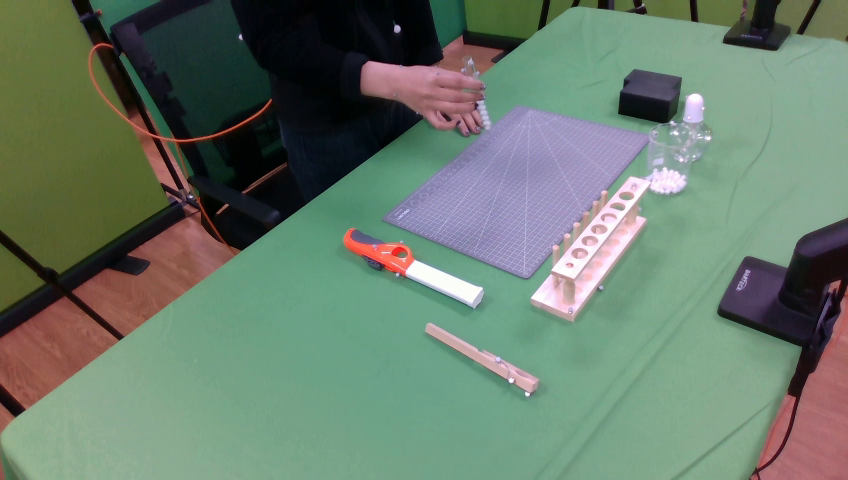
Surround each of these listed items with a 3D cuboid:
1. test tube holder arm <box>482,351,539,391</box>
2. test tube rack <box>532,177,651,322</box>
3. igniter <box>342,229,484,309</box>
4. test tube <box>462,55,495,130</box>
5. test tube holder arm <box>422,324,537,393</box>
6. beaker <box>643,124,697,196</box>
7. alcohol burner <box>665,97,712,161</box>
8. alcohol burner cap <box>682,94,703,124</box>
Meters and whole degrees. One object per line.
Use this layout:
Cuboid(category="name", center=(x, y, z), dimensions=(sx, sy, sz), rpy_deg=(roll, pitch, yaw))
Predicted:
Cuboid(category="test tube holder arm", center=(0.106, 0.166, 0.769), dimensions=(0.087, 0.015, 0.010), rpy_deg=(24, 15, 34))
Cuboid(category="test tube rack", center=(0.247, 0.002, 0.883), dimensions=(0.066, 0.085, 0.243), rpy_deg=(22, 49, 32))
Cuboid(category="igniter", center=(-0.027, 0.039, 0.936), dimensions=(0.274, 0.025, 0.057), rpy_deg=(23, 60, 32))
Cuboid(category="test tube", center=(0.091, -0.240, 0.998), dimensions=(0.017, 0.151, 0.017), rpy_deg=(-13, 47, 15))
Cuboid(category="test tube holder arm", center=(0.068, 0.152, 0.789), dimensions=(0.177, 0.015, 0.013), rpy_deg=(23, 15, 32))
Cuboid(category="beaker", center=(0.407, -0.132, 1.001), dimensions=(0.084, 0.101, 0.073), rpy_deg=(-20, 42, -13))
Cuboid(category="alcohol burner", center=(0.465, -0.198, 1.057), dimensions=(0.078, 0.119, 0.077), rpy_deg=(-4, 41, 4))
Cuboid(category="alcohol burner cap", center=(0.460, -0.225, 1.033), dimensions=(0.034, 0.048, 0.033), rpy_deg=(-8, 34, 6))
